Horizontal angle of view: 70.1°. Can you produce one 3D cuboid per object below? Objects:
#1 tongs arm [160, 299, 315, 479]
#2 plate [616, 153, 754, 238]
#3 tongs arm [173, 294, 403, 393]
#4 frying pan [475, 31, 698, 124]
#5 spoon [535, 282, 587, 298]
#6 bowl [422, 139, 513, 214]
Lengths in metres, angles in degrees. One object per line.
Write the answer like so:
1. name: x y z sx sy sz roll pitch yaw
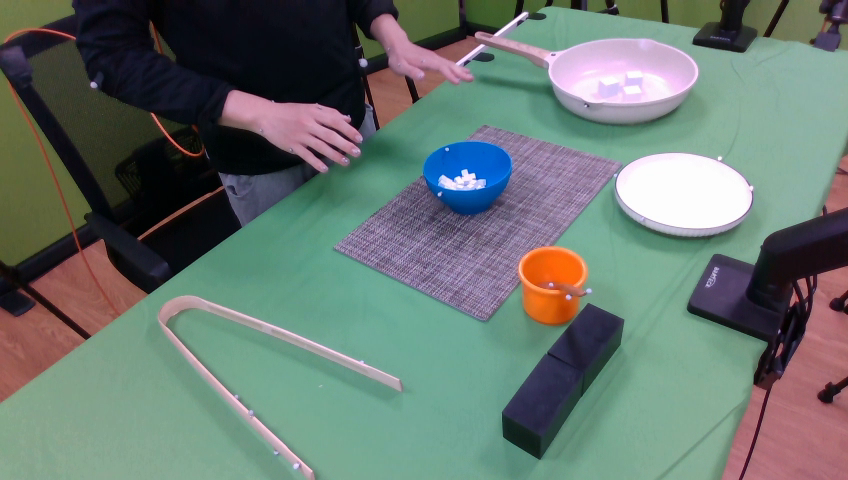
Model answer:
1. tongs arm: -0.248 0.179 0.784 0.381 0.026 0.051 27 49 34
2. plate: 0.416 -0.069 0.977 0.207 0.039 0.206 -4 40 4
3. tongs arm: -0.197 0.137 0.833 0.385 0.028 0.028 16 48 24
4. frying pan: 0.320 -0.371 1.290 0.485 0.103 0.307 28 50 23
5. spoon: 0.176 0.063 0.774 0.041 0.194 0.021 -3 85 0
6. bowl: 0.075 -0.097 1.021 0.151 0.077 0.150 -4 41 4
